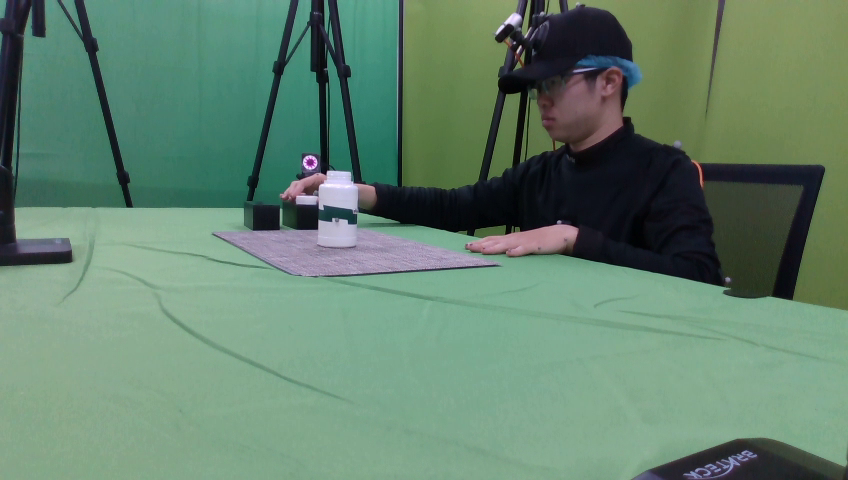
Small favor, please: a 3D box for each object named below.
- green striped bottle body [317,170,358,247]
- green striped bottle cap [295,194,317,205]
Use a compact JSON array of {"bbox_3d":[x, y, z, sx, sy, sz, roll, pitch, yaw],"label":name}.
[{"bbox_3d":[-0.138,-0.051,0.964,0.063,0.119,0.063,2,7,0],"label":"green striped bottle body"},{"bbox_3d":[-0.239,-0.082,1.228,0.044,0.020,0.044,2,4,0],"label":"green striped bottle cap"}]
